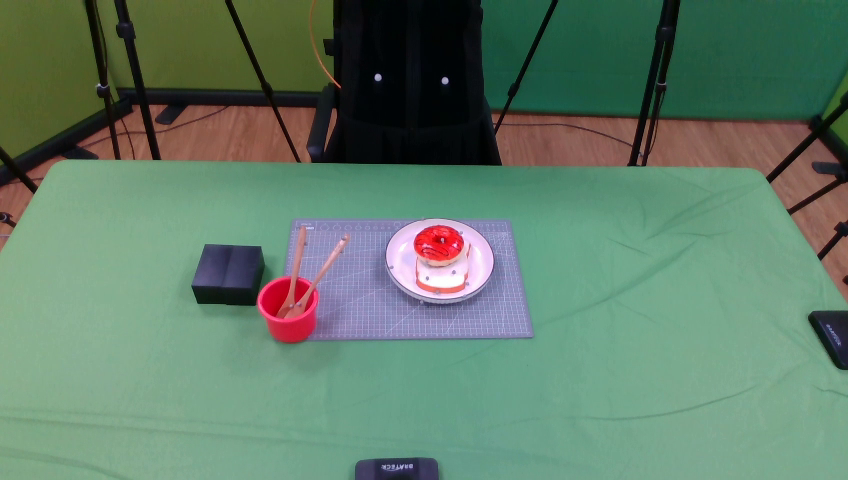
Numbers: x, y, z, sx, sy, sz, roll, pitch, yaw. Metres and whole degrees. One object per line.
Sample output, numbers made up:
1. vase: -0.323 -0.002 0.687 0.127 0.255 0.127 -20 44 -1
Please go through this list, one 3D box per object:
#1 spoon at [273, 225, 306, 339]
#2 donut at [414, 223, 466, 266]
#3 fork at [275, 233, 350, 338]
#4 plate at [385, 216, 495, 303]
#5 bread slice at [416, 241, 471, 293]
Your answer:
1. spoon: -0.220 0.070 1.026 0.041 0.021 0.193 10 91 -1
2. donut: 0.030 0.007 1.140 0.099 0.048 0.098 0 42 0
3. fork: -0.184 0.075 1.014 0.028 0.018 0.207 35 95 13
4. plate: 0.030 0.040 1.145 0.209 0.038 0.208 2 46 -2
5. bread slice: 0.037 0.046 1.144 0.105 0.019 0.131 4 45 2
